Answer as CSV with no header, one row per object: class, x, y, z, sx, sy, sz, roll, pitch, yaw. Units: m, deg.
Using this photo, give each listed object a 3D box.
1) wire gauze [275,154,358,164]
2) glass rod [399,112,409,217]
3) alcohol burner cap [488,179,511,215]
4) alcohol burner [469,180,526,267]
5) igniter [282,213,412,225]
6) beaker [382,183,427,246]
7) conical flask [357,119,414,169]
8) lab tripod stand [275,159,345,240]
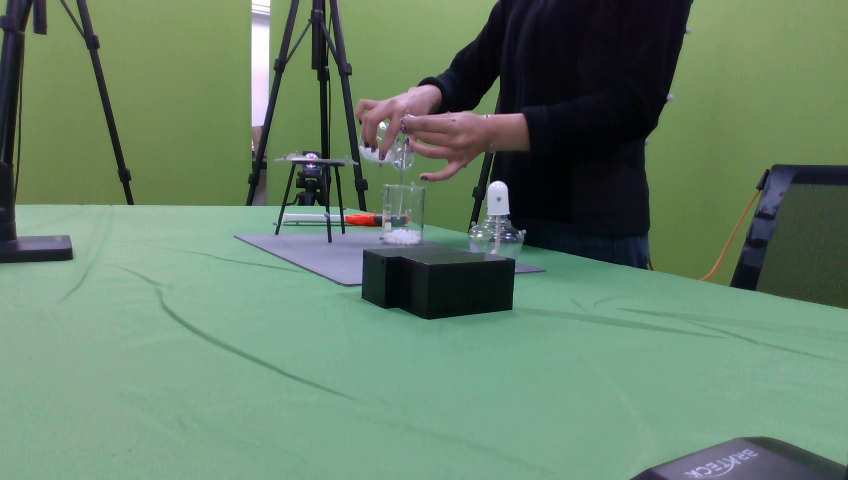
wire gauze,-0.179,-0.137,1.028,0.121,0.011,0.125,4,8,0
glass rod,-0.032,-0.117,0.976,0.008,0.200,0.008,3,40,-3
alcohol burner cap,0.101,-0.058,0.816,0.034,0.048,0.034,-4,9,1
alcohol burner,0.101,-0.022,0.821,0.078,0.119,0.078,4,8,0
igniter,-0.159,-0.046,1.286,0.278,0.025,0.057,0,-3,-22
beaker,-0.033,-0.044,1.008,0.074,0.100,0.084,6,7,22
conical flask,-0.059,-0.156,1.028,0.076,0.075,0.121,-2,24,-29
lab tripod stand,-0.181,-0.072,1.039,0.148,0.131,0.148,4,8,0
